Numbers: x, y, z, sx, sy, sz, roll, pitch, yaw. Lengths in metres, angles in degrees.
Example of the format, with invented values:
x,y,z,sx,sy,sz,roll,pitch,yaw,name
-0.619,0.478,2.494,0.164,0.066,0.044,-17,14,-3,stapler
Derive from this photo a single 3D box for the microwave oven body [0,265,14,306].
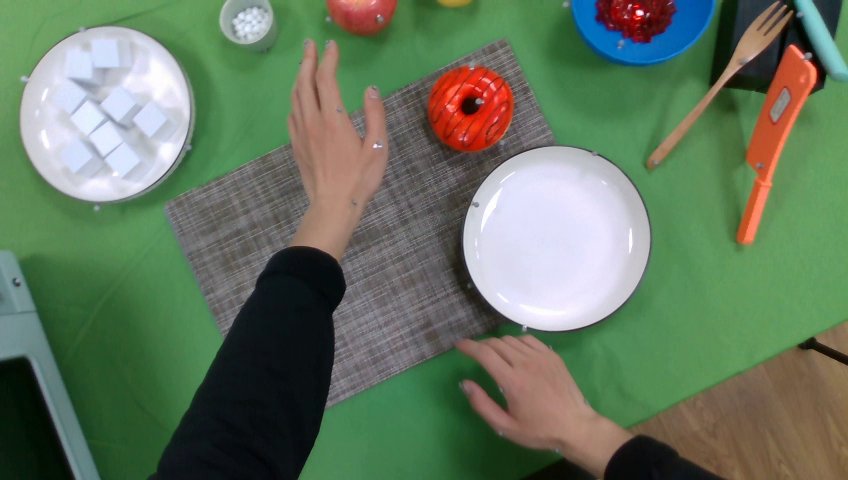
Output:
x,y,z,sx,sy,sz,roll,pitch,yaw,name
-0.560,0.255,0.601,0.326,0.260,0.441,-23,88,2,microwave oven body

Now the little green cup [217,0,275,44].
x,y,z,sx,sy,sz,roll,pitch,yaw,name
-0.205,-0.260,0.707,0.061,0.038,0.061,0,89,3,little green cup

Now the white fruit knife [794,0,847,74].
x,y,z,sx,sy,sz,roll,pitch,yaw,name
0.395,-0.268,0.640,0.027,0.016,0.207,-22,86,-27,white fruit knife

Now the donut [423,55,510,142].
x,y,z,sx,sy,sz,roll,pitch,yaw,name
0.048,-0.159,0.686,0.099,0.048,0.099,0,91,5,donut

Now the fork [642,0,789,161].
x,y,z,sx,sy,sz,roll,pitch,yaw,name
0.308,-0.170,0.656,0.028,0.018,0.208,35,111,-2,fork

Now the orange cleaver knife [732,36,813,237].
x,y,z,sx,sy,sz,roll,pitch,yaw,name
0.367,-0.107,0.655,0.012,0.076,0.213,6,119,1,orange cleaver knife

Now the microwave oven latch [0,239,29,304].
x,y,z,sx,sy,sz,roll,pitch,yaw,name
-0.487,0.038,0.698,0.030,0.029,0.079,-21,89,2,microwave oven latch

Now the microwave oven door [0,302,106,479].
x,y,z,sx,sy,sz,roll,pitch,yaw,name
-0.409,0.237,0.589,0.039,0.244,0.355,-23,88,2,microwave oven door

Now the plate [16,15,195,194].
x,y,z,sx,sy,sz,roll,pitch,yaw,name
-0.368,-0.156,0.714,0.207,0.039,0.207,0,89,3,plate

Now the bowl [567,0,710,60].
x,y,z,sx,sy,sz,roll,pitch,yaw,name
0.225,-0.264,0.666,0.151,0.077,0.151,0,90,3,bowl

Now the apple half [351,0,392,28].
x,y,z,sx,sy,sz,roll,pitch,yaw,name
-0.052,-0.271,0.682,0.032,0.081,0.081,24,90,7,apple half

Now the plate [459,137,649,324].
x,y,z,sx,sy,sz,roll,pitch,yaw,name
0.144,-0.010,0.682,0.209,0.038,0.209,0,89,3,plate

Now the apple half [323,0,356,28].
x,y,z,sx,sy,sz,roll,pitch,yaw,name
-0.087,-0.286,0.685,0.053,0.075,0.081,24,93,7,apple half
